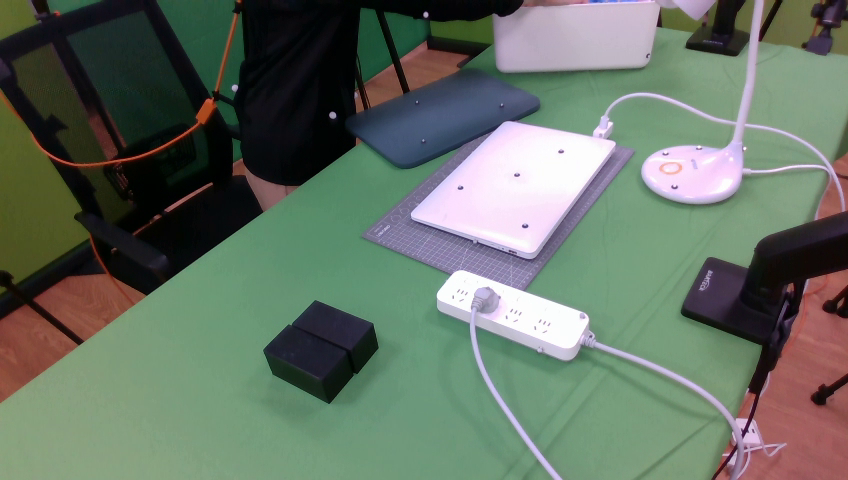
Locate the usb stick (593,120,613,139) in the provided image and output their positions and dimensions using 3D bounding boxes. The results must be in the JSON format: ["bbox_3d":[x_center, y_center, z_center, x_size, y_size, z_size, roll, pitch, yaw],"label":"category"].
[{"bbox_3d":[0.336,-0.201,1.147,0.021,0.027,0.059,26,53,27],"label":"usb stick"}]

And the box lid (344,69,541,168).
[{"bbox_3d":[0.040,-0.272,1.300,0.373,0.015,0.261,-28,44,-22],"label":"box lid"}]

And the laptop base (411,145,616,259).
[{"bbox_3d":[0.168,-0.101,1.074,0.234,0.023,0.355,17,46,30],"label":"laptop base"}]

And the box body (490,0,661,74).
[{"bbox_3d":[0.346,-0.520,1.429,0.363,0.161,0.253,1,41,9],"label":"box body"}]

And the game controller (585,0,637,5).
[{"bbox_3d":[0.426,-0.548,1.425,0.155,0.052,0.096,-16,45,-10],"label":"game controller"}]

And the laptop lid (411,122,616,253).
[{"bbox_3d":[0.164,-0.111,1.067,0.240,0.013,0.357,19,46,31],"label":"laptop lid"}]

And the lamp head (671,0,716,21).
[{"bbox_3d":[0.375,-0.373,0.807,0.122,0.113,0.112,-40,27,32],"label":"lamp head"}]

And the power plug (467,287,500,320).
[{"bbox_3d":[0.073,0.092,0.814,0.035,0.053,0.073,29,54,34],"label":"power plug"}]

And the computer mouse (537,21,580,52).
[{"bbox_3d":[0.335,-0.503,1.488,0.118,0.041,0.062,21,21,-28],"label":"computer mouse"}]

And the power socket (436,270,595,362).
[{"bbox_3d":[0.118,0.101,0.832,0.225,0.033,0.072,19,48,27],"label":"power socket"}]

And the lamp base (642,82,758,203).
[{"bbox_3d":[0.464,-0.174,0.992,0.179,0.181,0.159,-5,41,-1],"label":"lamp base"}]
